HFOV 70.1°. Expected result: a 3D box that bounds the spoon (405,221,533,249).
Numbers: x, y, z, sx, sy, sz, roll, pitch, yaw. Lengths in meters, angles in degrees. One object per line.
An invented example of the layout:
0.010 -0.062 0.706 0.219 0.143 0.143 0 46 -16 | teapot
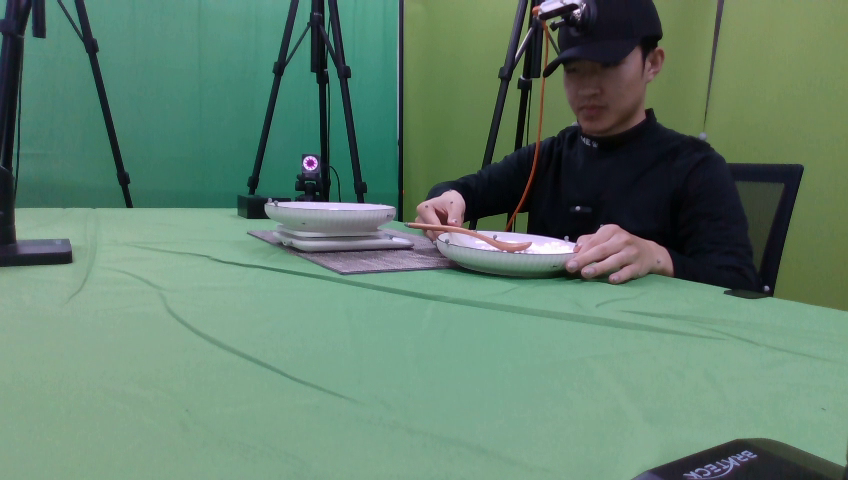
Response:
0.065 -0.011 0.901 0.193 0.021 0.042 13 10 13 | spoon

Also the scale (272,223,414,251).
-0.131 -0.008 0.983 0.202 0.031 0.148 -2 8 -32 | scale

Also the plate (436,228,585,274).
0.121 0.016 0.856 0.209 0.038 0.209 3 8 0 | plate

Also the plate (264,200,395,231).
-0.150 -0.040 0.971 0.208 0.039 0.207 2 7 0 | plate
